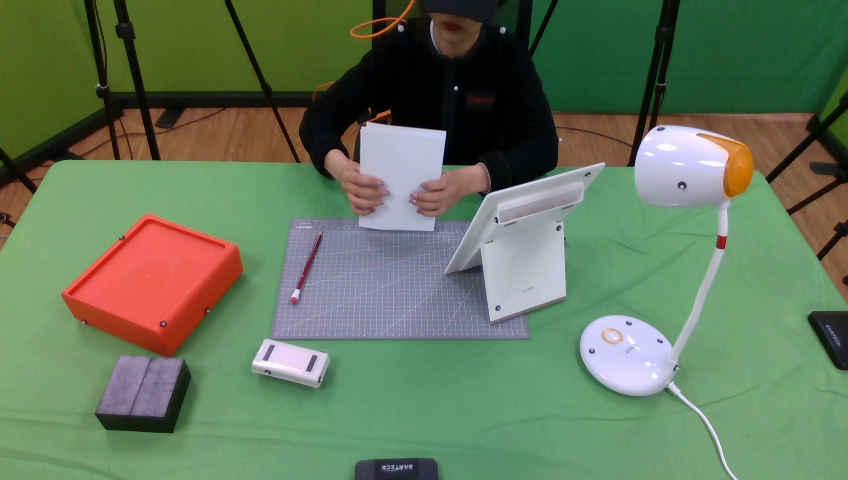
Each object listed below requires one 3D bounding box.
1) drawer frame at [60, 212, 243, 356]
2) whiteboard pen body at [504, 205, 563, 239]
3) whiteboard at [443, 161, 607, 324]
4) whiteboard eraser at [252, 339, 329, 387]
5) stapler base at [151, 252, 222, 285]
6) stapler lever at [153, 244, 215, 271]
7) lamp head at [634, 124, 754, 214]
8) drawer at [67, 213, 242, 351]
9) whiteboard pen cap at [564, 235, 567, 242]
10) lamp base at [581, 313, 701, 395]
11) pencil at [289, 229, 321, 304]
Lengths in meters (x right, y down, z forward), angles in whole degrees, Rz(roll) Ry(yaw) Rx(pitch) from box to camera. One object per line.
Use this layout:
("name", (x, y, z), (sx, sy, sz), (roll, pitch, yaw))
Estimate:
("drawer frame", (-0.462, 0.070, 1.053), (0.201, 0.083, 0.213), (18, 48, 12))
("whiteboard pen body", (0.225, -0.036, 1.249), (0.140, 0.017, 0.017), (31, 52, 23))
("whiteboard", (0.185, 0.026, 1.028), (0.217, 0.306, 0.143), (-15, 68, -18))
("whiteboard eraser", (-0.215, 0.199, 0.976), (0.112, 0.042, 0.055), (12, 45, 7))
("stapler base", (-0.432, 0.047, 1.102), (0.130, 0.024, 0.041), (16, 33, 12))
("stapler lever", (-0.430, 0.026, 1.088), (0.118, 0.040, 0.027), (15, 33, 12))
("lamp head", (0.351, -0.089, 0.775), (0.112, 0.113, 0.122), (-30, 30, -28))
("drawer", (-0.461, 0.068, 1.056), (0.194, 0.073, 0.211), (19, 48, 13))
("whiteboard pen cap", (0.271, -0.008, 1.225), (0.033, 0.018, 0.018), (33, 53, 22))
("lamp base", (0.361, 0.144, 0.973), (0.178, 0.181, 0.160), (34, 53, 23))
("pencil", (-0.220, 0.045, 1.141), (0.012, 0.012, 0.193), (8, 45, 4))
